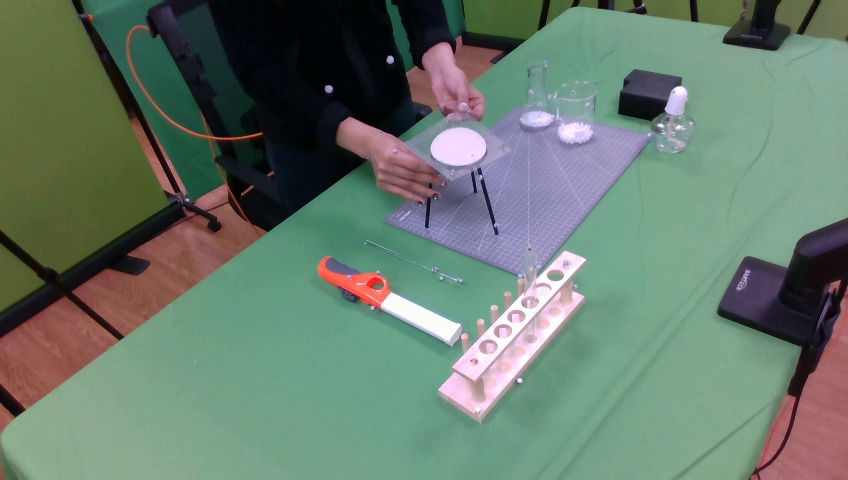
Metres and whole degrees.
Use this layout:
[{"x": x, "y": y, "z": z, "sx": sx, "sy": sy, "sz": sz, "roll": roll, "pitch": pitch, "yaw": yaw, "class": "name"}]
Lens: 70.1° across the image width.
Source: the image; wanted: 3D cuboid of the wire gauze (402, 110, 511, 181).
[{"x": 0.051, "y": -0.147, "z": 0.939, "sx": 0.125, "sy": 0.011, "sz": 0.120, "roll": -32, "pitch": 55, "yaw": -21, "class": "wire gauze"}]

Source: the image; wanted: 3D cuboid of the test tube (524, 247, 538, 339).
[{"x": 0.133, "y": 0.070, "z": 0.749, "sx": 0.017, "sy": 0.151, "sz": 0.017, "roll": -5, "pitch": 38, "yaw": 4, "class": "test tube"}]

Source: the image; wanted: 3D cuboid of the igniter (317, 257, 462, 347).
[{"x": -0.061, "y": 0.086, "z": 0.891, "sx": 0.274, "sy": 0.025, "sz": 0.057, "roll": 23, "pitch": 59, "yaw": 33, "class": "igniter"}]

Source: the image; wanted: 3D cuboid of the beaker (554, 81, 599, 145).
[{"x": 0.286, "y": -0.237, "z": 1.144, "sx": 0.084, "sy": 0.101, "sz": 0.073, "roll": -17, "pitch": 40, "yaw": -7, "class": "beaker"}]

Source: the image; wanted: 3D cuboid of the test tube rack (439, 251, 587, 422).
[{"x": 0.118, "y": 0.111, "z": 0.780, "sx": 0.066, "sy": 0.085, "sz": 0.243, "roll": 26, "pitch": 51, "yaw": 35, "class": "test tube rack"}]

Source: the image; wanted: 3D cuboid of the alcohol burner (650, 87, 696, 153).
[{"x": 0.448, "y": -0.217, "z": 1.084, "sx": 0.078, "sy": 0.119, "sz": 0.077, "roll": -6, "pitch": 38, "yaw": 5, "class": "alcohol burner"}]

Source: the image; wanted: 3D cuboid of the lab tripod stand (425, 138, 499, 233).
[{"x": 0.063, "y": -0.091, "z": 0.988, "sx": 0.148, "sy": 0.132, "sz": 0.147, "roll": -6, "pitch": 38, "yaw": 6, "class": "lab tripod stand"}]

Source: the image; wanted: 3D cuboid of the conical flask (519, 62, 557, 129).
[{"x": 0.225, "y": -0.288, "z": 1.198, "sx": 0.075, "sy": 0.122, "sz": 0.075, "roll": -6, "pitch": 40, "yaw": 5, "class": "conical flask"}]

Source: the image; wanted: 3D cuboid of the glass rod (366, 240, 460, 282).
[{"x": -0.022, "y": 0.032, "z": 0.962, "sx": 0.198, "sy": 0.008, "sz": 0.008, "roll": 21, "pitch": 49, "yaw": 35, "class": "glass rod"}]

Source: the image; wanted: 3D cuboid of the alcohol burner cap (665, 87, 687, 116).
[{"x": 0.445, "y": -0.244, "z": 1.060, "sx": 0.034, "sy": 0.048, "sz": 0.033, "roll": -2, "pitch": 45, "yaw": 3, "class": "alcohol burner cap"}]
